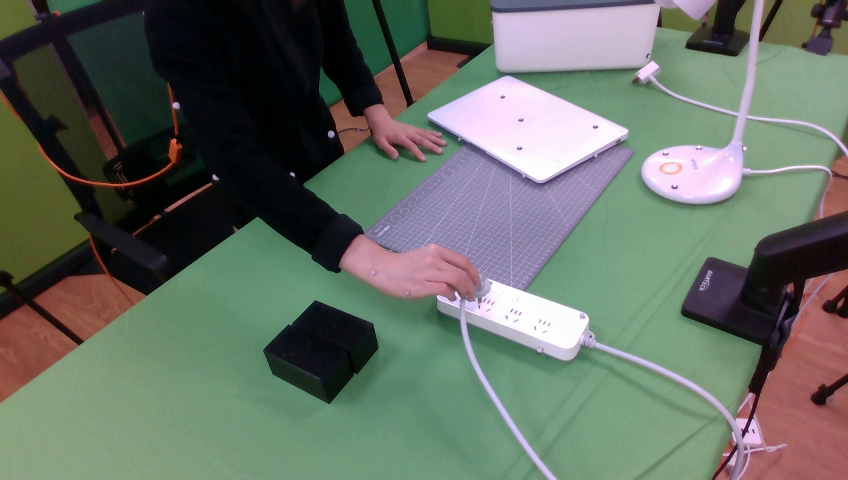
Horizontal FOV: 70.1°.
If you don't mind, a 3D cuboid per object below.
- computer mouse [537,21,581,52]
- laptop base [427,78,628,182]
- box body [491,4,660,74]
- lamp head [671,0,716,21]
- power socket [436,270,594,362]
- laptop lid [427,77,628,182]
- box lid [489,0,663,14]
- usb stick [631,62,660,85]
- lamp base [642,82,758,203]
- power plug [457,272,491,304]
[{"bbox_3d":[0.335,-0.503,1.487,0.118,0.041,0.062,22,19,-28],"label":"computer mouse"},{"bbox_3d":[0.199,-0.228,1.222,0.236,0.023,0.351,-31,45,-22],"label":"laptop base"},{"bbox_3d":[0.346,-0.520,1.429,0.363,0.161,0.253,1,41,9],"label":"box body"},{"bbox_3d":[0.375,-0.373,0.807,0.122,0.113,0.112,-40,27,32],"label":"lamp head"},{"bbox_3d":[0.118,0.101,0.832,0.225,0.033,0.072,19,48,27],"label":"power socket"},{"bbox_3d":[0.196,-0.237,1.213,0.242,0.013,0.353,-29,44,-21],"label":"laptop lid"},{"bbox_3d":[0.340,-0.575,1.380,0.371,0.015,0.262,0,41,9],"label":"box lid"},{"bbox_3d":[0.480,-0.358,1.317,0.059,0.022,0.027,-35,55,14],"label":"usb stick"},{"bbox_3d":[0.464,-0.174,0.992,0.179,0.181,0.159,-5,41,-1],"label":"lamp base"},{"bbox_3d":[0.058,0.070,0.792,0.035,0.053,0.073,28,49,37],"label":"power plug"}]
